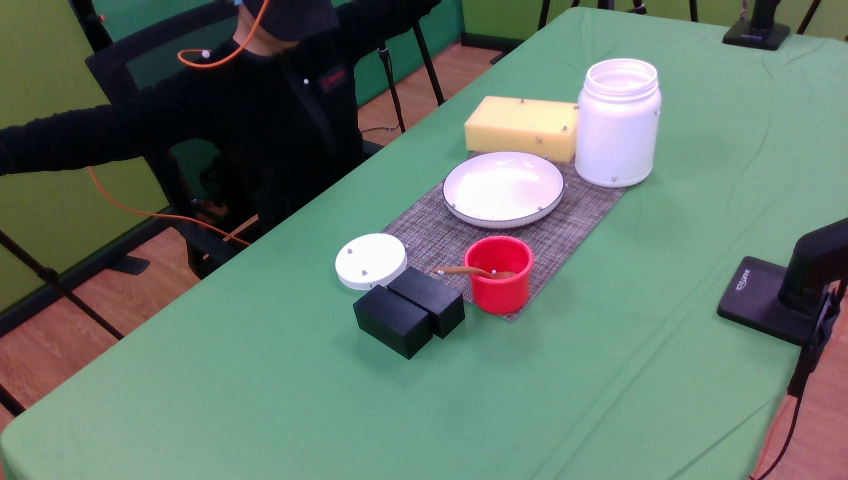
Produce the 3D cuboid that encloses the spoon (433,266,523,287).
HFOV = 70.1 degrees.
[{"bbox_3d":[0.074,0.045,0.815,0.041,0.021,0.195,32,12,38],"label":"spoon"}]

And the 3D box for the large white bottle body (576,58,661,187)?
[{"bbox_3d":[0.326,-0.197,1.021,0.130,0.185,0.130,-5,40,5],"label":"large white bottle body"}]

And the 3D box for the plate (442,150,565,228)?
[{"bbox_3d":[0.136,-0.085,1.039,0.209,0.038,0.208,-5,40,5],"label":"plate"}]

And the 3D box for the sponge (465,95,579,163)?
[{"bbox_3d":[0.197,-0.218,1.167,0.206,0.061,0.118,11,44,22],"label":"sponge"}]

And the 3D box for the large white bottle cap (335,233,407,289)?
[{"bbox_3d":[-0.085,0.032,0.961,0.115,0.018,0.114,-6,42,6],"label":"large white bottle cap"}]
